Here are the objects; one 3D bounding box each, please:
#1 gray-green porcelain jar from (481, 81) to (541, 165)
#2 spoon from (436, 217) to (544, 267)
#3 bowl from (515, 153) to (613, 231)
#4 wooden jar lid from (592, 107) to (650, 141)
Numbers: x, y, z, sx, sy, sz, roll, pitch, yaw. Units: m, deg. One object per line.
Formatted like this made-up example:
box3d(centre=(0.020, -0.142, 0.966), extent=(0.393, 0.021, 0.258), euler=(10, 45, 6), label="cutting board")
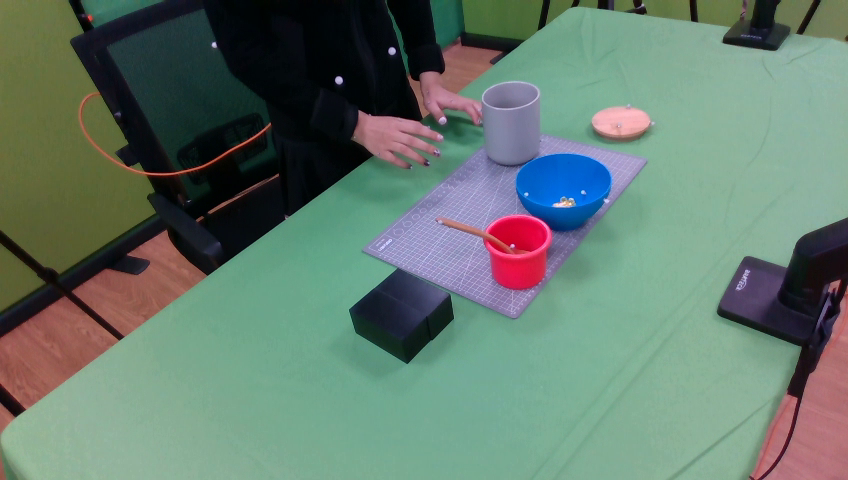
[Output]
box3d(centre=(0.162, -0.212, 1.117), extent=(0.106, 0.127, 0.105), euler=(-5, 40, 5), label="gray-green porcelain jar")
box3d(centre=(0.097, 0.001, 0.864), extent=(0.195, 0.021, 0.041), euler=(25, 24, -30), label="spoon")
box3d(centre=(0.224, -0.068, 0.972), extent=(0.151, 0.077, 0.150), euler=(-5, 40, 5), label="bowl")
box3d(centre=(0.382, -0.225, 1.178), extent=(0.108, 0.021, 0.108), euler=(-5, 40, 4), label="wooden jar lid")
